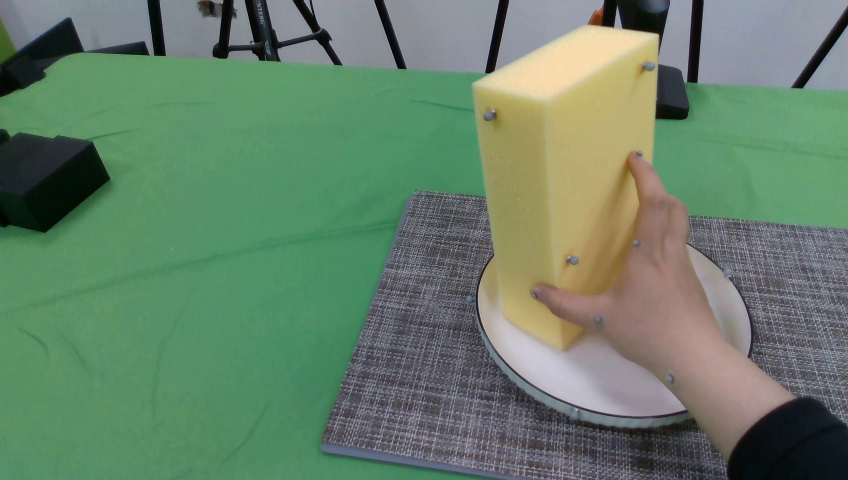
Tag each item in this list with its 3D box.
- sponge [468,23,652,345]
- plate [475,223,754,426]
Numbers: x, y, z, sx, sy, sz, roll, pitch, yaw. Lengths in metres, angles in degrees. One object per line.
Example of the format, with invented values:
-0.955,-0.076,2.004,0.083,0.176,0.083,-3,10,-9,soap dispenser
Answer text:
0.107,-0.038,0.449,0.118,0.209,0.060,-36,42,-27,sponge
0.144,0.060,0.482,0.207,0.039,0.205,-2,42,2,plate
